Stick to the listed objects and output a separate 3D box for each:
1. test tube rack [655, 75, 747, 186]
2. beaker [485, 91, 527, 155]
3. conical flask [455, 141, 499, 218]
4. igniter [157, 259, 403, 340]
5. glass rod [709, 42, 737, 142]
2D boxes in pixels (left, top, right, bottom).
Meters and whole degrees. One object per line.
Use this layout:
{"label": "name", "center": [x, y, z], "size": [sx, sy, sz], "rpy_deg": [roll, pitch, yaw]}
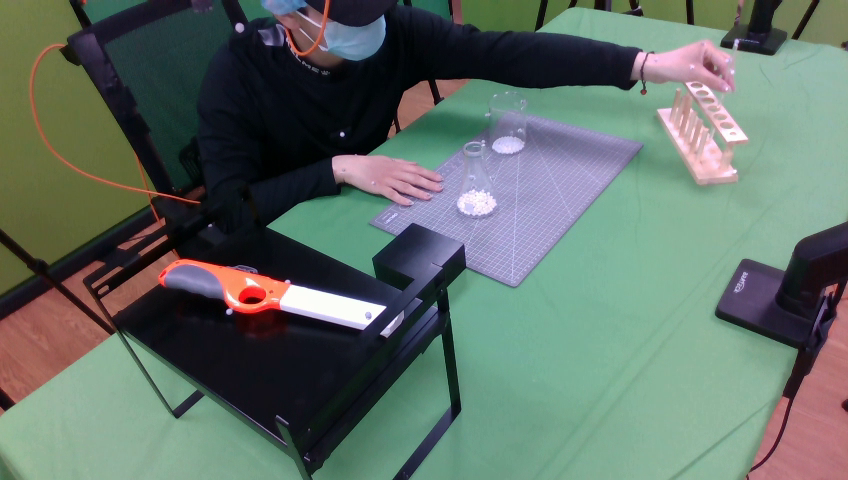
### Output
{"label": "test tube rack", "center": [0.491, -0.205, 1.092], "size": [0.067, 0.085, 0.241], "rpy_deg": [-5, 40, 3]}
{"label": "beaker", "center": [0.158, -0.217, 1.141], "size": [0.074, 0.101, 0.083], "rpy_deg": [-19, 43, -12]}
{"label": "conical flask", "center": [0.085, -0.103, 0.999], "size": [0.075, 0.122, 0.075], "rpy_deg": [-4, 40, 4]}
{"label": "igniter", "center": [-0.156, 0.059, 0.637], "size": [0.275, 0.025, 0.057], "rpy_deg": [11, 43, 14]}
{"label": "glass rod", "center": [0.502, -0.244, 1.021], "size": [0.008, 0.201, 0.008], "rpy_deg": [-6, 48, 7]}
